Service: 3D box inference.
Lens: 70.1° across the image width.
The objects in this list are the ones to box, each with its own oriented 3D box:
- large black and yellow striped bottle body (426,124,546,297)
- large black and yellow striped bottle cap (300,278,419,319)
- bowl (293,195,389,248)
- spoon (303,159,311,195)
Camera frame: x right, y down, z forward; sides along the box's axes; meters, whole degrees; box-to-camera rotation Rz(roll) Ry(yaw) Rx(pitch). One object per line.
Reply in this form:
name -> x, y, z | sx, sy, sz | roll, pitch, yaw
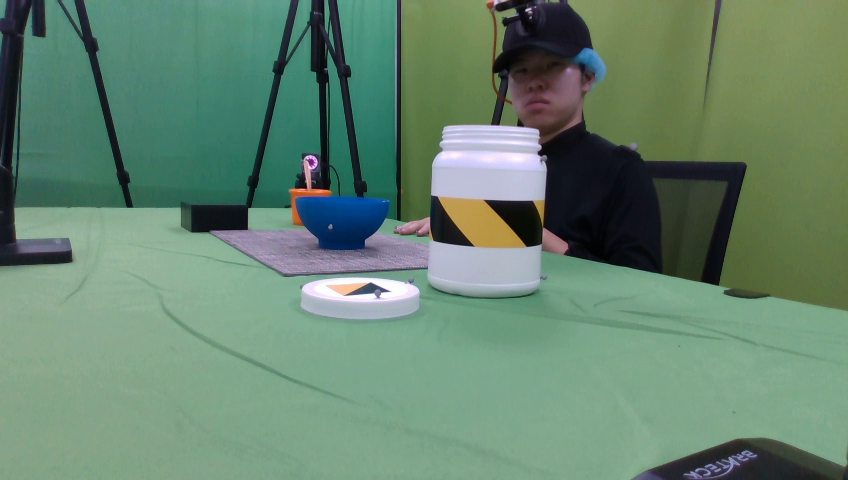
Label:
large black and yellow striped bottle body -> 0.070, -0.037, 0.689 | 0.131, 0.184, 0.130 | 2, 7, 0
large black and yellow striped bottle cap -> -0.062, 0.055, 0.588 | 0.115, 0.019, 0.115 | 1, 6, 0
bowl -> -0.132, -0.029, 0.962 | 0.151, 0.077, 0.151 | 2, 7, 0
spoon -> -0.257, -0.113, 1.341 | 0.042, 0.193, 0.021 | 3, -38, -18
